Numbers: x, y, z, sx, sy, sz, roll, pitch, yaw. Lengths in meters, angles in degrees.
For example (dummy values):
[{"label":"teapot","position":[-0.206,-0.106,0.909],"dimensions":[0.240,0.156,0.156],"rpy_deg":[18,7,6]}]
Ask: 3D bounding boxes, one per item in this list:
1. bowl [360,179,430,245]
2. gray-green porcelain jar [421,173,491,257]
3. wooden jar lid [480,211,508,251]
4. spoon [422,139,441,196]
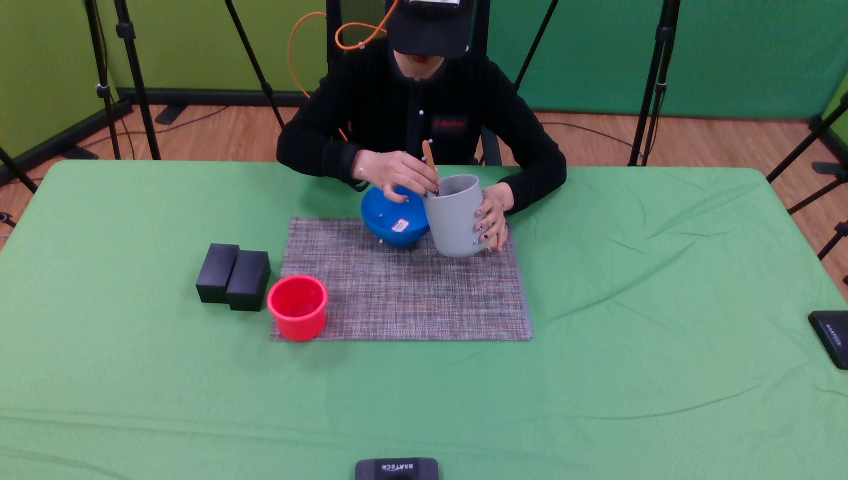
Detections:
[{"label":"bowl","position":[-0.049,-0.042,1.190],"dimensions":[0.151,0.077,0.150],"rpy_deg":[2,46,-2]},{"label":"gray-green porcelain jar","position":[0.060,-0.041,1.079],"dimensions":[0.106,0.127,0.105],"rpy_deg":[-13,24,6]},{"label":"wooden jar lid","position":[0.115,-0.018,1.220],"dimensions":[0.108,0.021,0.107],"rpy_deg":[3,47,-3]},{"label":"spoon","position":[0.022,-0.085,1.048],"dimensions":[0.041,0.194,0.021],"rpy_deg":[-9,27,13]}]
